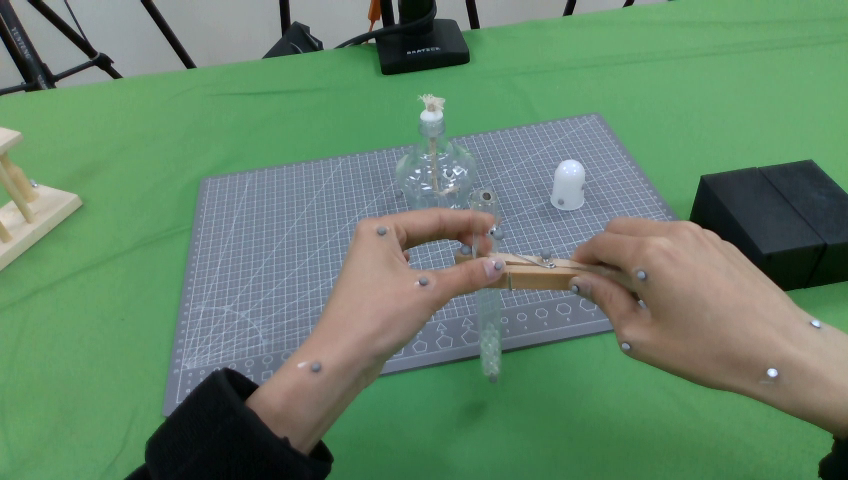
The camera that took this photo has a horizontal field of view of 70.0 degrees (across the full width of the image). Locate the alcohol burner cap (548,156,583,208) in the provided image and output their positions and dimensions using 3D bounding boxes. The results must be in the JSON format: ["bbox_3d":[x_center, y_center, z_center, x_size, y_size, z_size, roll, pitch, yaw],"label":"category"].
[{"bbox_3d":[0.135,-0.057,0.572,0.034,0.048,0.033,-4,43,4],"label":"alcohol burner cap"}]

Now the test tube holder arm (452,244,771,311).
[{"bbox_3d":[0.102,0.021,0.353,0.178,0.015,0.013,7,41,17],"label":"test tube holder arm"}]

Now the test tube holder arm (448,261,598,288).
[{"bbox_3d":[0.058,0.020,0.360,0.087,0.015,0.010,0,39,9],"label":"test tube holder arm"}]

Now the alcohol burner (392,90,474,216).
[{"bbox_3d":[0.007,-0.083,0.560,0.078,0.120,0.077,-4,42,4],"label":"alcohol burner"}]

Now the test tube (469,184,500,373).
[{"bbox_3d":[0.039,0.032,0.382,0.017,0.151,0.017,-4,38,3],"label":"test tube"}]

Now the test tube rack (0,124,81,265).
[{"bbox_3d":[-0.445,-0.001,0.549,0.066,0.086,0.241,14,47,20],"label":"test tube rack"}]
